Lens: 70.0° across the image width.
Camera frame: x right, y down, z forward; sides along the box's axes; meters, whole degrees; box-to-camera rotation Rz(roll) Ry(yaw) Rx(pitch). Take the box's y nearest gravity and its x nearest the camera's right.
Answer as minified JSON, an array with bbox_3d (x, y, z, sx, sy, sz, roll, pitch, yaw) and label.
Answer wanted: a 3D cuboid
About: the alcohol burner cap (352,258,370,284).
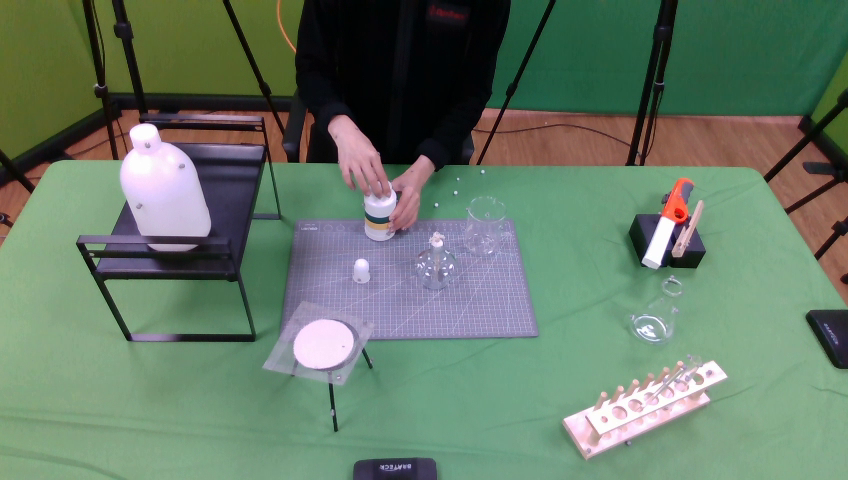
[{"bbox_3d":[-0.117,0.055,1.118,0.034,0.048,0.033,2,46,-2],"label":"alcohol burner cap"}]

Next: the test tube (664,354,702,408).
[{"bbox_3d":[0.385,0.215,0.906,0.017,0.151,0.017,-1,49,1],"label":"test tube"}]

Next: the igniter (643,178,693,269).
[{"bbox_3d":[0.488,-0.042,1.205,0.057,0.025,0.276,30,51,11],"label":"igniter"}]

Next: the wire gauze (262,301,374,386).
[{"bbox_3d":[-0.150,0.148,0.873,0.121,0.011,0.124,14,46,12],"label":"wire gauze"}]

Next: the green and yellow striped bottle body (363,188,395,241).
[{"bbox_3d":[-0.087,-0.061,1.177,0.063,0.120,0.063,2,46,-2],"label":"green and yellow striped bottle body"}]

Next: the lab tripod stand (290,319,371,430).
[{"bbox_3d":[-0.146,0.194,0.923,0.148,0.132,0.147,1,47,-1],"label":"lab tripod stand"}]

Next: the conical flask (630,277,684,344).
[{"bbox_3d":[0.408,0.117,1.045,0.075,0.122,0.075,2,46,-2],"label":"conical flask"}]

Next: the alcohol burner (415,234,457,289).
[{"bbox_3d":[0.022,0.033,1.099,0.078,0.120,0.077,1,47,-1],"label":"alcohol burner"}]

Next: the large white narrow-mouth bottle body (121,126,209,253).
[{"bbox_3d":[-0.378,-0.077,0.875,0.102,0.195,0.101,3,46,-3],"label":"large white narrow-mouth bottle body"}]

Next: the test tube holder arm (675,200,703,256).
[{"bbox_3d":[0.523,-0.025,1.190,0.013,0.015,0.178,0,36,42],"label":"test tube holder arm"}]

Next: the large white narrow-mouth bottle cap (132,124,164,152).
[{"bbox_3d":[-0.370,-0.137,0.813,0.038,0.024,0.037,3,46,-3],"label":"large white narrow-mouth bottle cap"}]

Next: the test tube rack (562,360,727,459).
[{"bbox_3d":[0.341,0.247,0.940,0.243,0.085,0.066,-16,49,-18],"label":"test tube rack"}]

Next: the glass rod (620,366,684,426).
[{"bbox_3d":[0.322,0.227,0.866,0.008,0.200,0.008,5,51,-7],"label":"glass rod"}]

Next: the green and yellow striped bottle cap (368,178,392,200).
[{"bbox_3d":[-0.083,-0.097,1.140,0.045,0.020,0.045,1,46,-1],"label":"green and yellow striped bottle cap"}]

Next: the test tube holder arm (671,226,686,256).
[{"bbox_3d":[0.494,0.001,1.167,0.010,0.015,0.087,1,36,42],"label":"test tube holder arm"}]

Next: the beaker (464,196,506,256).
[{"bbox_3d":[0.117,-0.026,1.174,0.074,0.101,0.083,21,48,15],"label":"beaker"}]
